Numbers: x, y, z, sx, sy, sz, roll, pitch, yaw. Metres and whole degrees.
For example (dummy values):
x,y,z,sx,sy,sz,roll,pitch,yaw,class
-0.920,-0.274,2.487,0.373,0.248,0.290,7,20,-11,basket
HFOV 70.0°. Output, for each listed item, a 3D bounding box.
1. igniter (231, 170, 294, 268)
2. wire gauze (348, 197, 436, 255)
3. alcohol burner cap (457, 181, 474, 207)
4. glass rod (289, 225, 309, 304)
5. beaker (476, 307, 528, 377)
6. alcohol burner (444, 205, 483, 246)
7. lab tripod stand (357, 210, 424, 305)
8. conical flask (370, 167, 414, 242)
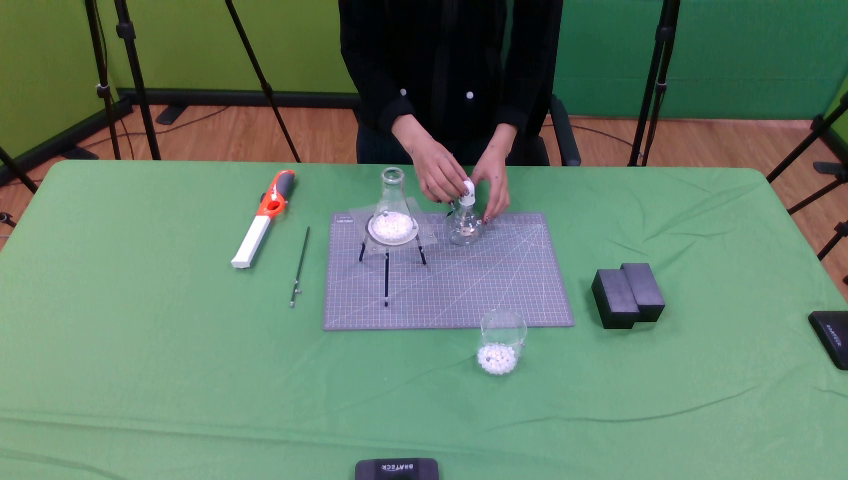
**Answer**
x,y,z,sx,sy,sz,roll,pitch,yaw,class
-0.321,-0.051,1.220,0.057,0.025,0.275,2,45,11,igniter
-0.056,-0.025,1.046,0.125,0.011,0.120,-13,46,-15,wire gauze
0.079,-0.090,1.142,0.034,0.048,0.033,-1,47,1,alcohol burner cap
-0.235,0.043,1.149,0.008,0.008,0.198,3,46,-1,glass rod
0.122,0.171,0.991,0.084,0.101,0.073,-34,56,-30,beaker
0.079,-0.047,1.184,0.078,0.120,0.077,1,45,-1,alcohol burner
-0.060,0.020,1.094,0.148,0.132,0.147,3,44,-2,lab tripod stand
-0.053,-0.062,1.000,0.075,0.122,0.075,2,44,-2,conical flask
